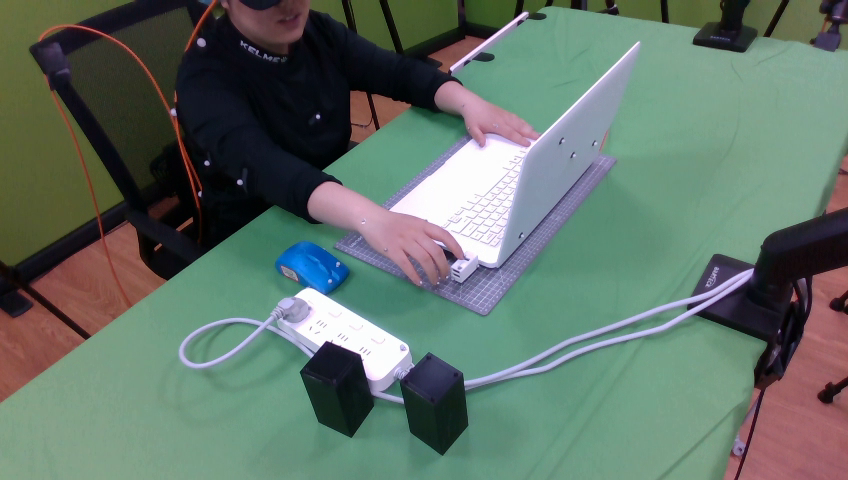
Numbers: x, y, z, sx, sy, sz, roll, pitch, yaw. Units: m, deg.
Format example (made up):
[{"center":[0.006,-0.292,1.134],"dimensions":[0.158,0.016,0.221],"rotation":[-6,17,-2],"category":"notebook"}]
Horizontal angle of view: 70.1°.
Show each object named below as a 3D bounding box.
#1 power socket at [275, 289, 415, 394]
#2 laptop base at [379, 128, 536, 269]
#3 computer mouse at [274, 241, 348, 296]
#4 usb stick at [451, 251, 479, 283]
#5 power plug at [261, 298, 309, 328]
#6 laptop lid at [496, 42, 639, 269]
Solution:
[{"center":[-0.114,0.133,0.820],"dimensions":[0.225,0.033,0.072],"rotation":[25,49,32],"category":"power socket"},{"center":[0.118,-0.088,1.059],"dimensions":[0.233,0.023,0.355],"rotation":[20,47,32],"category":"laptop base"},{"center":[-0.176,0.040,0.935],"dimensions":[0.116,0.041,0.063],"rotation":[26,49,27],"category":"computer mouse"},{"center":[0.066,0.036,0.900],"dimensions":[0.021,0.027,0.059],"rotation":[26,48,30],"category":"usb stick"},{"center":[-0.192,0.107,0.831],"dimensions":[0.073,0.053,0.035],"rotation":[-32,43,-25],"category":"power plug"},{"center":[0.221,-0.130,0.913],"dimensions":[0.013,0.242,0.357],"rotation":[31,51,21],"category":"laptop lid"}]
